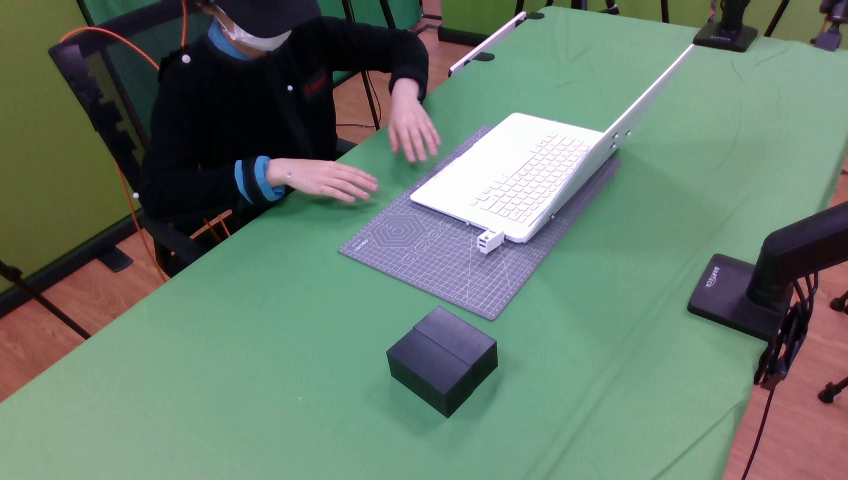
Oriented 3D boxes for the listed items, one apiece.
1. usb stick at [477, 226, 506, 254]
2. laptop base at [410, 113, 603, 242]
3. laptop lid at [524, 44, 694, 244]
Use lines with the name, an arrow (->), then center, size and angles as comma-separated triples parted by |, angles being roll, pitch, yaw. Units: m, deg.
usb stick -> 0.107, -0.004, 0.933 | 0.021, 0.027, 0.059 | 25, 38, 35
laptop base -> 0.171, -0.127, 1.096 | 0.233, 0.023, 0.355 | 21, 47, 33
laptop lid -> 0.290, -0.151, 0.941 | 0.013, 0.241, 0.358 | 40, 54, 12
